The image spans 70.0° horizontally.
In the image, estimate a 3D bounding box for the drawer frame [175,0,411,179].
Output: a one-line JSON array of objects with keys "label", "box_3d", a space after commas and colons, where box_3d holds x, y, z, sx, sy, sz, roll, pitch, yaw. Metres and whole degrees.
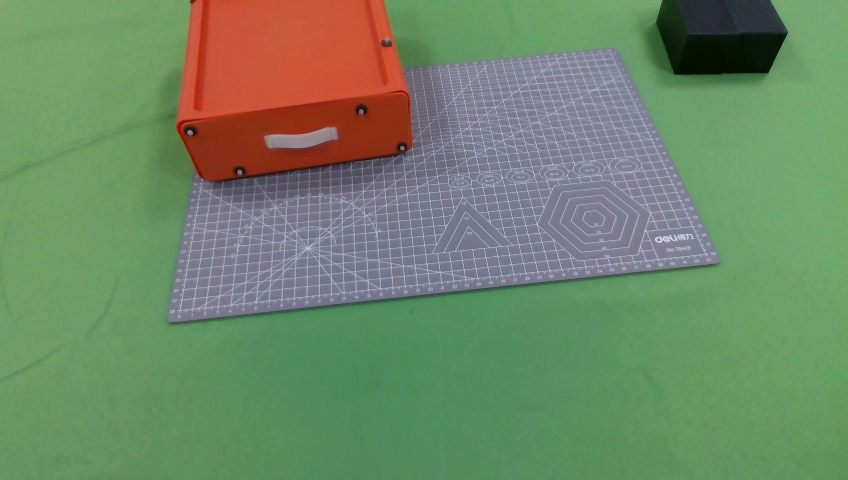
[{"label": "drawer frame", "box_3d": [-0.129, -0.171, 0.605, 0.202, 0.083, 0.211, -10, 52, -5]}]

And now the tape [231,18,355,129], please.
[{"label": "tape", "box_3d": [-0.130, -0.169, 0.612, 0.117, 0.053, 0.115, 0, 54, 1]}]

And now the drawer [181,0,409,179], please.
[{"label": "drawer", "box_3d": [-0.127, -0.168, 0.604, 0.195, 0.074, 0.209, -10, 52, -4]}]
